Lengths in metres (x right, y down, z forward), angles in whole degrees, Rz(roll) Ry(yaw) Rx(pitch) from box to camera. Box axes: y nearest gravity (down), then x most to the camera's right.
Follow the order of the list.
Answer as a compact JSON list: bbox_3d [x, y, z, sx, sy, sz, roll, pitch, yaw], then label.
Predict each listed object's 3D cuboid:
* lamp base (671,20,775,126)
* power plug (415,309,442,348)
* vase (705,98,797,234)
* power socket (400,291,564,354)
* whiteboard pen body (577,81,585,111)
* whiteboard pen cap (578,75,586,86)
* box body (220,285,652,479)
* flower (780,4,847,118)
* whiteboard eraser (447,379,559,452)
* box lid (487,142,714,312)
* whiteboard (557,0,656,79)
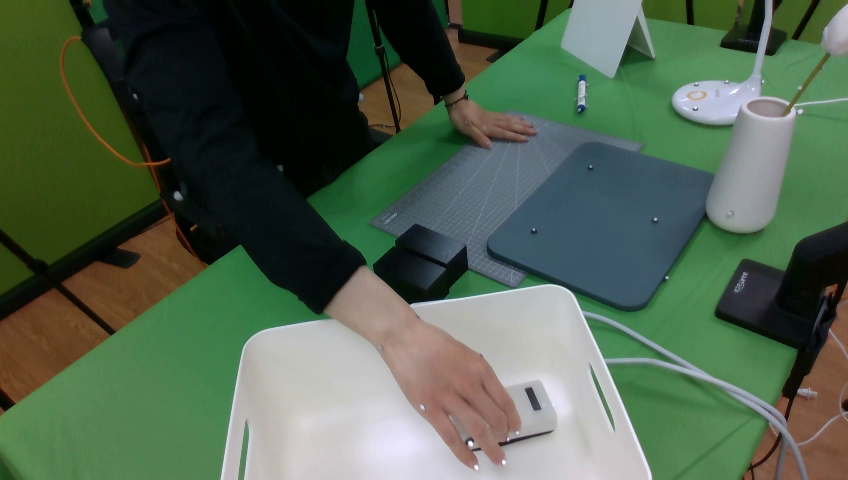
[{"bbox_3d":[0.581,-0.332,1.154,0.179,0.181,0.160,2,42,7],"label":"lamp base"},{"bbox_3d":[0.004,0.121,0.786,0.035,0.053,0.072,2,45,8],"label":"power plug"},{"bbox_3d":[0.480,-0.104,0.888,0.098,0.201,0.097,-4,42,4],"label":"vase"},{"bbox_3d":[0.079,0.111,0.823,0.227,0.033,0.072,-5,41,1],"label":"power socket"},{"bbox_3d":[0.335,-0.313,1.292,0.017,0.017,0.140,3,40,12],"label":"whiteboard pen body"},{"bbox_3d":[0.349,-0.351,1.334,0.018,0.018,0.033,3,39,12],"label":"whiteboard pen cap"},{"bbox_3d":[0.005,0.211,0.616,0.364,0.161,0.252,-9,40,-2],"label":"box body"},{"bbox_3d":[0.480,-0.157,0.824,0.044,0.362,0.038,-9,56,-9],"label":"flower"},{"bbox_3d":[0.084,0.190,0.650,0.113,0.042,0.055,-11,42,-6],"label":"whiteboard eraser"},{"bbox_3d":[0.298,-0.041,0.986,0.261,0.015,0.372,23,49,30],"label":"box lid"},{"bbox_3d":[0.462,-0.542,1.366,0.145,0.306,0.215,-3,36,-25],"label":"whiteboard"}]
